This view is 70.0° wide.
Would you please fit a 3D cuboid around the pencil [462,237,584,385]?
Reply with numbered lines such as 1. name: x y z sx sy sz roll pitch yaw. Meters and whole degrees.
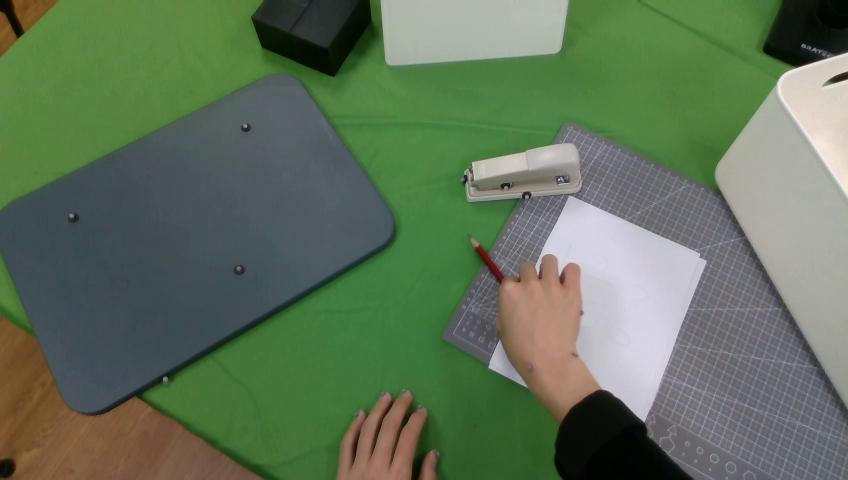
1. pencil: 0.097 0.068 0.619 0.012 0.012 0.192 -33 70 -14

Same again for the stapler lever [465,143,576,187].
1. stapler lever: 0.103 -0.080 0.646 0.118 0.040 0.026 -6 63 0

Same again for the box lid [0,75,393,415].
1. box lid: -0.248 -0.014 0.649 0.371 0.015 0.261 -31 71 -13

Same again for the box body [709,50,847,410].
1. box body: 0.480 0.003 0.571 0.254 0.161 0.361 -18 69 -9

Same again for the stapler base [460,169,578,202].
1. stapler base: 0.106 -0.070 0.669 0.130 0.024 0.041 -6 63 0

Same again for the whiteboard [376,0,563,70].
1. whiteboard: 0.046 -0.371 0.676 0.217 0.308 0.142 -5 48 -2
